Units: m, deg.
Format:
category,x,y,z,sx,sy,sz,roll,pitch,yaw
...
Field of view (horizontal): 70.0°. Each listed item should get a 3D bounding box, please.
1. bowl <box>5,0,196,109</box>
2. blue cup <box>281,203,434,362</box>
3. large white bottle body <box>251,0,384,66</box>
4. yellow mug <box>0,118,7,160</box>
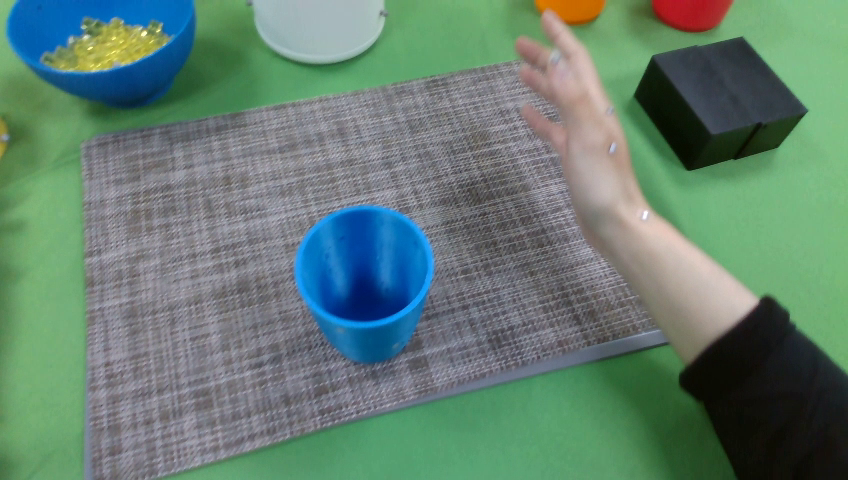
category,x,y,z,sx,sy,sz,roll,pitch,yaw
bowl,-0.272,-0.171,0.541,0.151,0.077,0.150,2,59,-2
blue cup,-0.037,0.038,0.410,0.093,0.101,0.092,1,60,-1
large white bottle body,-0.102,-0.269,0.547,0.131,0.186,0.129,2,59,-2
yellow mug,-0.402,-0.083,0.487,0.100,0.064,0.129,-25,65,-18
